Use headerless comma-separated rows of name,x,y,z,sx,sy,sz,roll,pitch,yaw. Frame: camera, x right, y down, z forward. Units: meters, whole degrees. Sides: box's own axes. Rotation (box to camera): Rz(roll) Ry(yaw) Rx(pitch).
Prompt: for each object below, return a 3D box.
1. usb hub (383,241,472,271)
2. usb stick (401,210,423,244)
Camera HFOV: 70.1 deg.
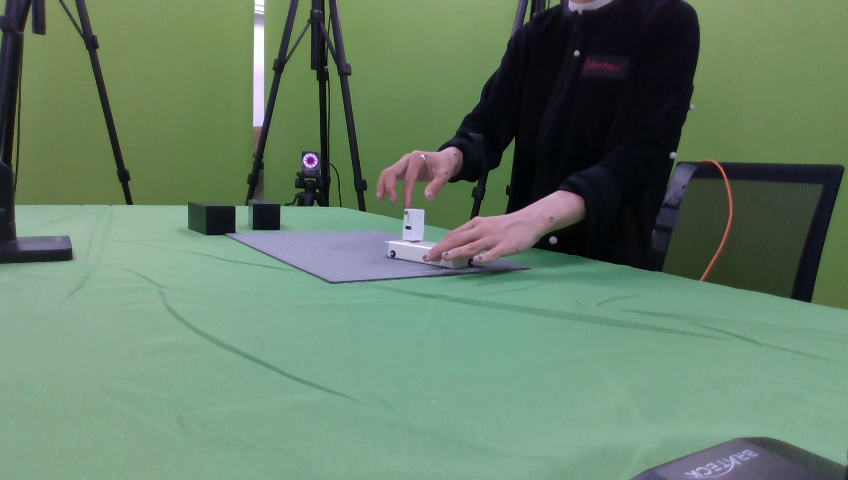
usb hub,0.003,0.020,0.842,0.124,0.025,0.050,9,11,39
usb stick,-0.017,-0.013,0.861,0.021,0.059,0.027,11,12,37
